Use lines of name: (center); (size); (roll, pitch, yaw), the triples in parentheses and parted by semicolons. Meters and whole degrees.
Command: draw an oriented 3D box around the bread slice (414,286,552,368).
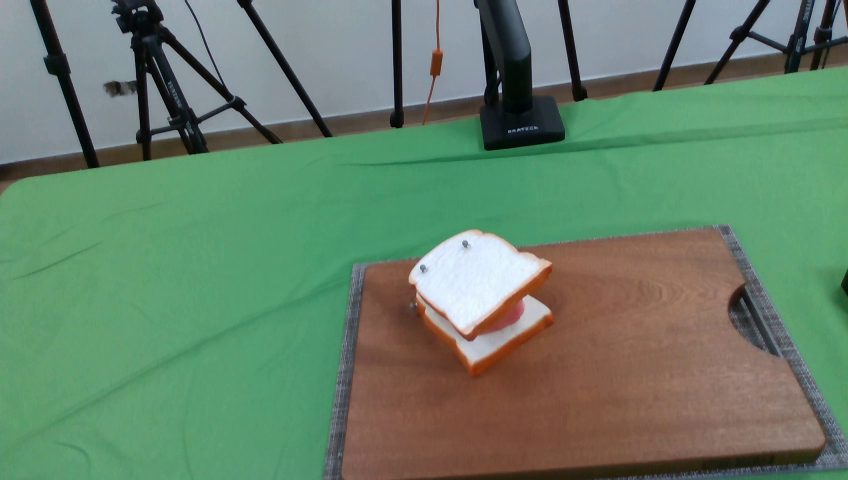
bread slice: (0.050, 0.063, 0.628); (0.105, 0.019, 0.130); (-30, 45, -22)

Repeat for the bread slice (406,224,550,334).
bread slice: (0.043, 0.032, 0.599); (0.107, 0.018, 0.133); (-39, 35, -17)
